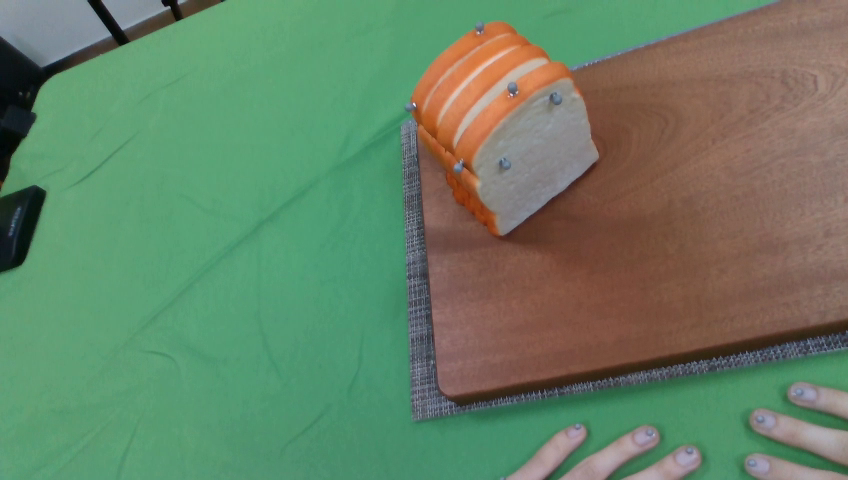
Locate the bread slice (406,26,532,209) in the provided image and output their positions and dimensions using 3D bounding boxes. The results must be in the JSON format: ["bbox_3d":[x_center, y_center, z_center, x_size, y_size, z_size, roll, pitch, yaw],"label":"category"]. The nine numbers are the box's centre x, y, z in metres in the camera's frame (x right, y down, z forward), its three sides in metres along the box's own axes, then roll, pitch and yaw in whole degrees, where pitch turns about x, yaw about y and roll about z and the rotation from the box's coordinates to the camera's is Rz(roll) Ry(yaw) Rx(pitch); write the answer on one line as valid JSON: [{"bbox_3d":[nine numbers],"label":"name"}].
[{"bbox_3d":[0.047,-0.093,0.462,0.107,0.136,0.018,-38,50,-2],"label":"bread slice"}]

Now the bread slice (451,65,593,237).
[{"bbox_3d":[0.072,-0.060,0.432,0.105,0.133,0.019,-41,59,1],"label":"bread slice"}]
